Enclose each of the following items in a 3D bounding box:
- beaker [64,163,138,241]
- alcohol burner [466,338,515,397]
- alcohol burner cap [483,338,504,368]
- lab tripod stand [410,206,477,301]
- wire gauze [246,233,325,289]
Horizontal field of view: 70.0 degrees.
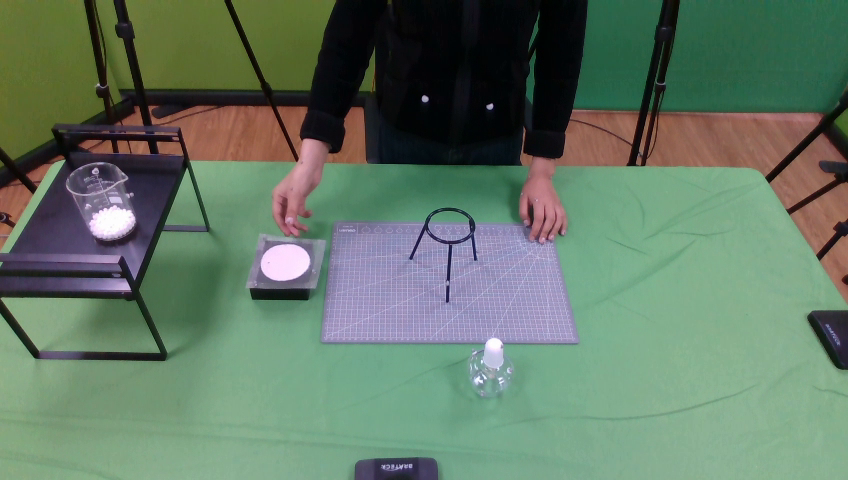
[{"bbox_3d":[-0.478,-0.055,0.910,0.084,0.101,0.073,-9,48,-13],"label":"beaker"},{"bbox_3d":[0.106,0.194,0.952,0.078,0.120,0.077,1,45,0],"label":"alcohol burner"},{"bbox_3d":[0.108,0.170,0.928,0.034,0.048,0.033,-1,41,1],"label":"alcohol burner cap"},{"bbox_3d":[0.039,0.015,1.101,0.148,0.132,0.147,1,47,-1],"label":"lab tripod stand"},{"bbox_3d":[-0.245,0.037,1.082,0.121,0.011,0.124,5,47,-3],"label":"wire gauze"}]
